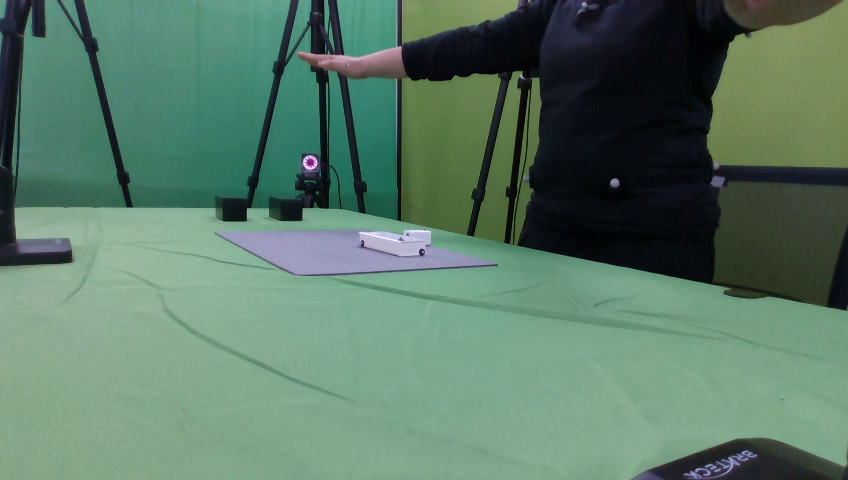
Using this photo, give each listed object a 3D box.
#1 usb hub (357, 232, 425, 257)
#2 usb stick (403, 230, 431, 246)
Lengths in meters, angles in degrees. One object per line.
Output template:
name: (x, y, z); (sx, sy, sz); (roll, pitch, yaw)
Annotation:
usb hub: (-0.055, 0.005, 0.947); (0.050, 0.025, 0.124); (-3, 9, -36)
usb stick: (-0.018, -0.003, 1.020); (0.059, 0.027, 0.021); (-6, 14, -34)
